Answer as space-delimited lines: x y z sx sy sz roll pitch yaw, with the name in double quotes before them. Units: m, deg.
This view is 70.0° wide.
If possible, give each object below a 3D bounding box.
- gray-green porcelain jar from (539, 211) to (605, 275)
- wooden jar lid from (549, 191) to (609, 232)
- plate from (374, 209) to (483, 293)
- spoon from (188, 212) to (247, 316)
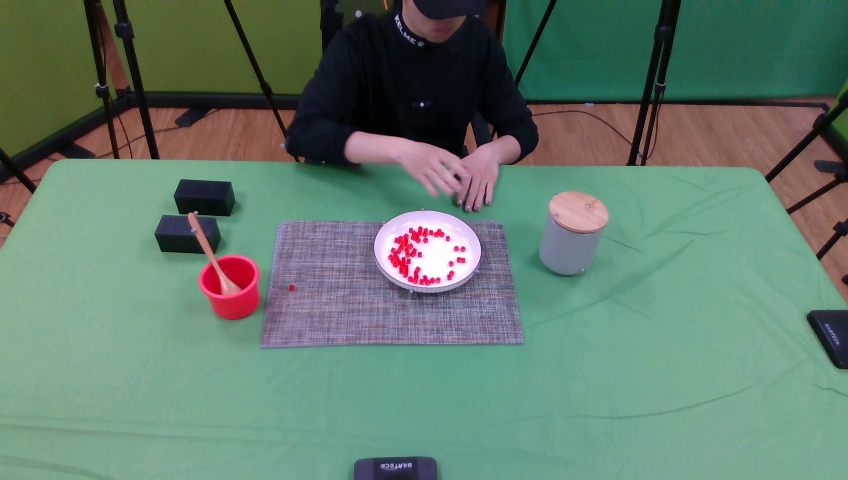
"gray-green porcelain jar" 0.278 -0.004 1.148 0.106 0.127 0.105 2 46 -2
"wooden jar lid" 0.280 -0.049 1.101 0.108 0.021 0.107 2 44 -2
"plate" 0.008 0.024 1.158 0.208 0.039 0.206 2 46 -2
"spoon" -0.358 0.042 1.036 0.041 0.021 0.194 -28 93 -21
